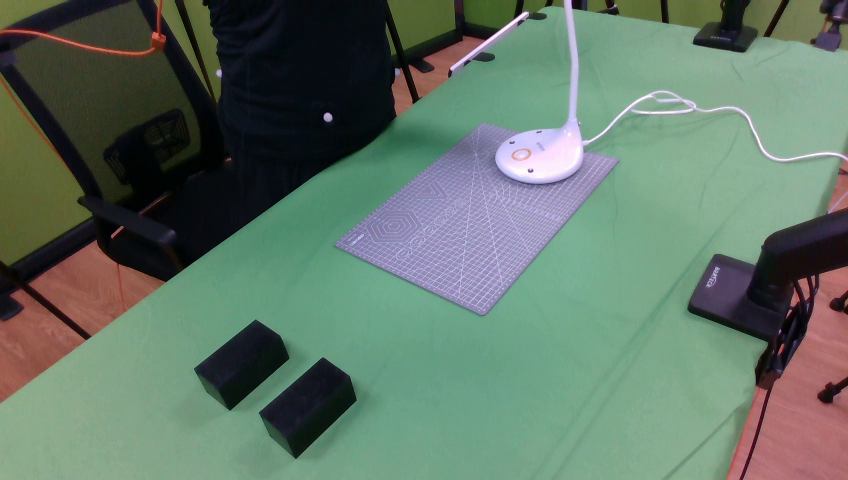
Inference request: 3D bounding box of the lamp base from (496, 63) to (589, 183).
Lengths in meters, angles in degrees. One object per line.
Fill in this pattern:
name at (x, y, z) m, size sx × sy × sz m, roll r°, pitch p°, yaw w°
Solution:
lamp base at (0.216, -0.217, 1.067) m, size 0.180 × 0.181 × 0.159 m, roll -19°, pitch 42°, yaw -18°
